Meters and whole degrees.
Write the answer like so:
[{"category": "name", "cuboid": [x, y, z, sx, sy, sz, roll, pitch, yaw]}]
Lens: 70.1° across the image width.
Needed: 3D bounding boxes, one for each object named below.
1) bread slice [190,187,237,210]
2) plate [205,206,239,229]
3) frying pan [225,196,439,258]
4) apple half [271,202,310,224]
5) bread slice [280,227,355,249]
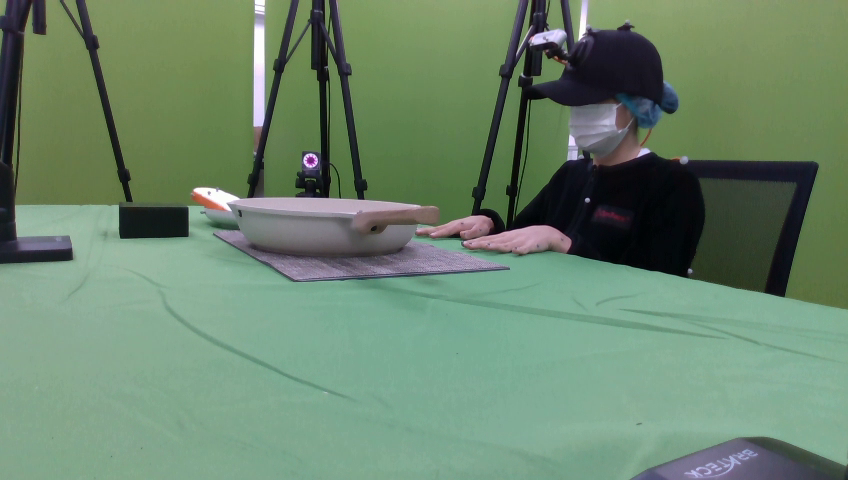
[{"category": "bread slice", "cuboid": [-0.402, -0.074, 1.218, 0.131, 0.019, 0.105, 26, 12, 15]}, {"category": "plate", "cuboid": [-0.324, -0.046, 1.199, 0.208, 0.039, 0.207, 3, 7, 0]}, {"category": "frying pan", "cuboid": [-0.103, -0.027, 0.845, 0.308, 0.102, 0.486, -1, 0, -25]}, {"category": "apple half", "cuboid": [-0.262, -0.059, 1.178, 0.081, 0.033, 0.081, -22, 2, 1]}, {"category": "bread slice", "cuboid": [-0.170, -0.004, 0.943, 0.107, 0.018, 0.134, 2, 7, -15]}]
